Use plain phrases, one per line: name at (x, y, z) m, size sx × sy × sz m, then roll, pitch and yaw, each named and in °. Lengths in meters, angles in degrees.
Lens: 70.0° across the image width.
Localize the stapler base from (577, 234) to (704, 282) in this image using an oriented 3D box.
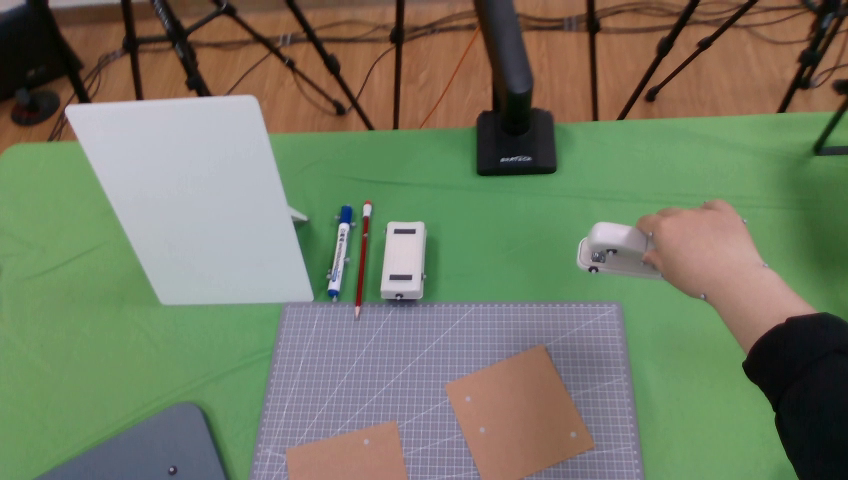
stapler base at (0.231, 0.014, 0.645) m, size 0.130 × 0.024 × 0.041 m, roll 7°, pitch 68°, yaw 12°

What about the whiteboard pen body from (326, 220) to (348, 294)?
whiteboard pen body at (-0.121, 0.012, 0.858) m, size 0.017 × 0.017 × 0.139 m, roll 0°, pitch 58°, yaw 7°

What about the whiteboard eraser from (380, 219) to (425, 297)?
whiteboard eraser at (-0.029, 0.024, 0.826) m, size 0.055 × 0.042 × 0.111 m, roll -2°, pitch 59°, yaw 7°

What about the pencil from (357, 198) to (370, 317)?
pencil at (-0.086, 0.020, 0.853) m, size 0.012 × 0.012 × 0.192 m, roll -3°, pitch 58°, yaw 5°

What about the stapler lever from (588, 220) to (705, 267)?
stapler lever at (0.229, 0.003, 0.623) m, size 0.118 × 0.040 × 0.026 m, roll 7°, pitch 68°, yaw 12°

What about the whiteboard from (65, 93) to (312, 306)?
whiteboard at (-0.266, -0.073, 0.792) m, size 0.217 × 0.308 × 0.142 m, roll -1°, pitch 39°, yaw 6°

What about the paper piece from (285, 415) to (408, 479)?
paper piece at (-0.085, 0.280, 0.691) m, size 0.135 × 0.004 × 0.134 m, roll -13°, pitch 59°, yaw -3°

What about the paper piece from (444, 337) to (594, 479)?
paper piece at (0.109, 0.200, 0.719) m, size 0.136 × 0.009 × 0.137 m, roll -22°, pitch 60°, yaw -4°

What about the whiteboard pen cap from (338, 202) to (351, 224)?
whiteboard pen cap at (-0.116, -0.038, 0.887) m, size 0.018 × 0.018 × 0.033 m, roll -2°, pitch 57°, yaw 6°

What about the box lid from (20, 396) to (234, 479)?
box lid at (-0.312, 0.376, 0.658) m, size 0.263 × 0.015 × 0.367 m, roll -28°, pitch 60°, yaw -11°
